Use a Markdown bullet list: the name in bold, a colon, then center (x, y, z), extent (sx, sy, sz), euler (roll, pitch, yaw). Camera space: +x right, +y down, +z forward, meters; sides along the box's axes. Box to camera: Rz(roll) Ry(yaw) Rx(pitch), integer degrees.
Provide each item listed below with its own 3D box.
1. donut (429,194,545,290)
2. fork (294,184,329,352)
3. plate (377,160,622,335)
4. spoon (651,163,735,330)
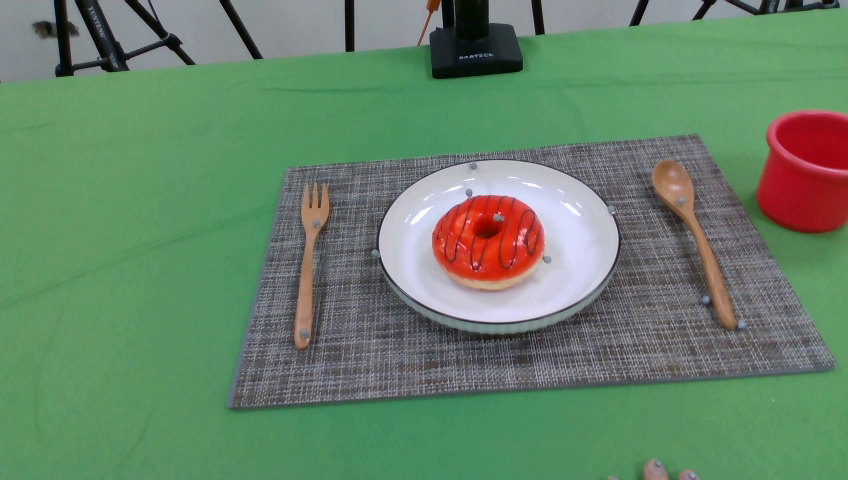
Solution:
- **donut**: center (0.054, 0.001, 0.522), extent (0.099, 0.049, 0.098), euler (-4, 46, 4)
- **fork**: center (-0.104, 0.016, 0.555), extent (0.028, 0.019, 0.205), euler (-1, 42, -5)
- **plate**: center (0.064, 0.005, 0.533), extent (0.209, 0.038, 0.207), euler (-3, 43, 3)
- **spoon**: center (0.237, -0.002, 0.532), extent (0.042, 0.022, 0.192), euler (10, 43, -8)
